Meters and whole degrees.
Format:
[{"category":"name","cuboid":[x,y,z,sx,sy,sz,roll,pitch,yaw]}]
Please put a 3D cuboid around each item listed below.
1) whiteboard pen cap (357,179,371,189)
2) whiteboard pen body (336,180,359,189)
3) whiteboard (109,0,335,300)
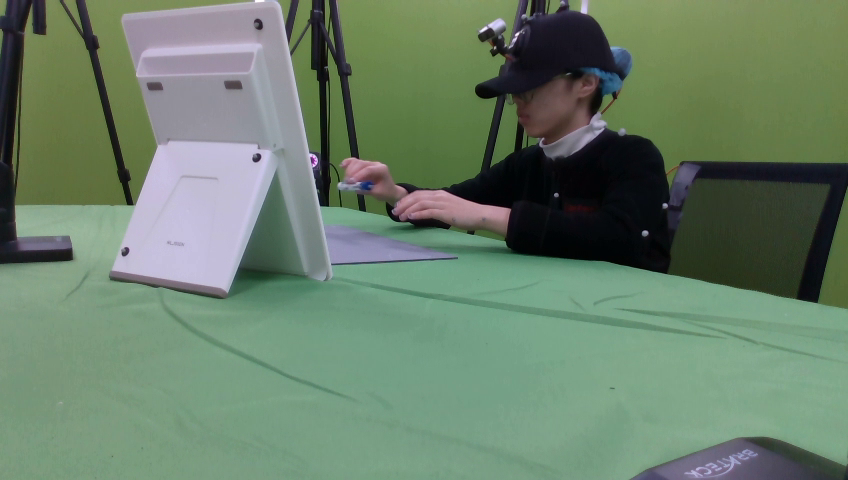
[{"category":"whiteboard pen cap","cuboid":[-0.106,-0.097,1.055,0.018,0.018,0.033,-2,2,-26]},{"category":"whiteboard pen body","cuboid":[-0.134,-0.102,1.107,0.017,0.017,0.140,-2,4,-26]},{"category":"whiteboard","cuboid":[-0.247,-0.072,0.624,0.216,0.305,0.144,6,28,26]}]
